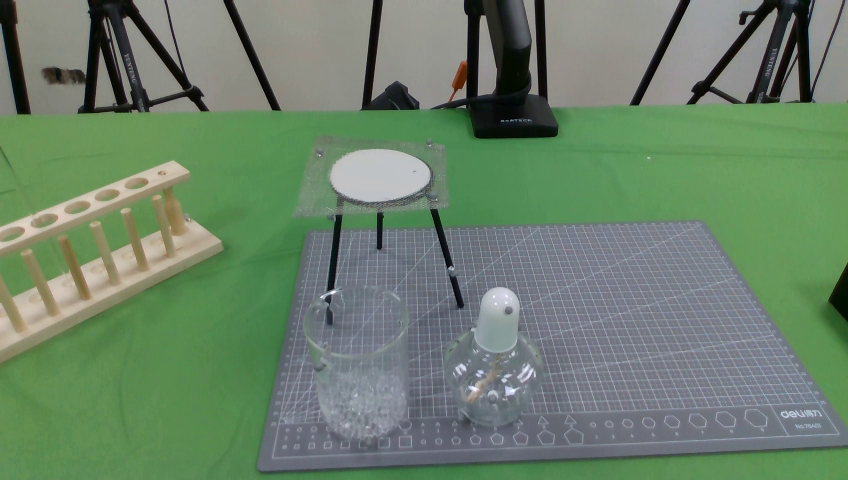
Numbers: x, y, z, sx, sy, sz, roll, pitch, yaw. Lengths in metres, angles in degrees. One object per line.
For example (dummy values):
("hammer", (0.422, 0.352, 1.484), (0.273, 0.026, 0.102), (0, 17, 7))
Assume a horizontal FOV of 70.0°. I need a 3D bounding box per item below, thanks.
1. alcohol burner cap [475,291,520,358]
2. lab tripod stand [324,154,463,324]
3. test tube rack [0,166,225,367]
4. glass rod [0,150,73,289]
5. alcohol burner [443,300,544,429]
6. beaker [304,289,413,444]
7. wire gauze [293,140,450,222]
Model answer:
("alcohol burner cap", (0.054, 0.058, 0.433), (0.034, 0.048, 0.033), (2, 38, -1))
("lab tripod stand", (-0.032, -0.001, 0.556), (0.148, 0.132, 0.147), (1, 36, -1))
("test tube rack", (-0.320, 0.020, 0.572), (0.066, 0.086, 0.242), (29, 45, 34))
("glass rod", (-0.355, -0.035, 0.535), (0.008, 0.201, 0.008), (-4, 34, 3))
("alcohol burner", (0.053, 0.086, 0.455), (0.078, 0.120, 0.077), (1, 39, 0))
("beaker", (-0.049, 0.096, 0.454), (0.083, 0.101, 0.074), (28, 45, 33))
("wire gauze", (-0.041, -0.053, 0.513), (0.121, 0.011, 0.124), (1, 37, -1))
